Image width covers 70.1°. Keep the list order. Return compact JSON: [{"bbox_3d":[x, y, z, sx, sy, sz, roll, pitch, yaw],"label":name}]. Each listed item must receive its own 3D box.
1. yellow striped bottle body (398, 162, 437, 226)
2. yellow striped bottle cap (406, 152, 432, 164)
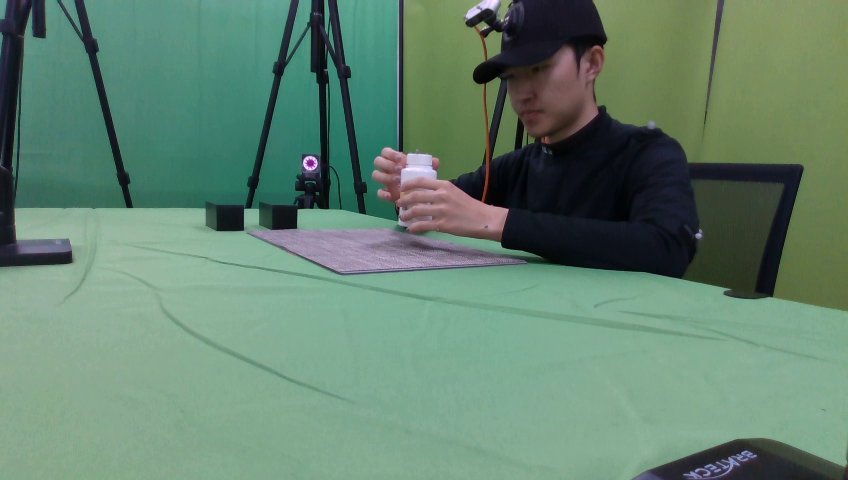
[{"bbox_3d":[-0.011,-0.085,1.028,0.063,0.120,0.063,3,2,0],"label":"yellow striped bottle body"},{"bbox_3d":[-0.008,-0.139,1.025,0.044,0.018,0.044,4,9,0],"label":"yellow striped bottle cap"}]
